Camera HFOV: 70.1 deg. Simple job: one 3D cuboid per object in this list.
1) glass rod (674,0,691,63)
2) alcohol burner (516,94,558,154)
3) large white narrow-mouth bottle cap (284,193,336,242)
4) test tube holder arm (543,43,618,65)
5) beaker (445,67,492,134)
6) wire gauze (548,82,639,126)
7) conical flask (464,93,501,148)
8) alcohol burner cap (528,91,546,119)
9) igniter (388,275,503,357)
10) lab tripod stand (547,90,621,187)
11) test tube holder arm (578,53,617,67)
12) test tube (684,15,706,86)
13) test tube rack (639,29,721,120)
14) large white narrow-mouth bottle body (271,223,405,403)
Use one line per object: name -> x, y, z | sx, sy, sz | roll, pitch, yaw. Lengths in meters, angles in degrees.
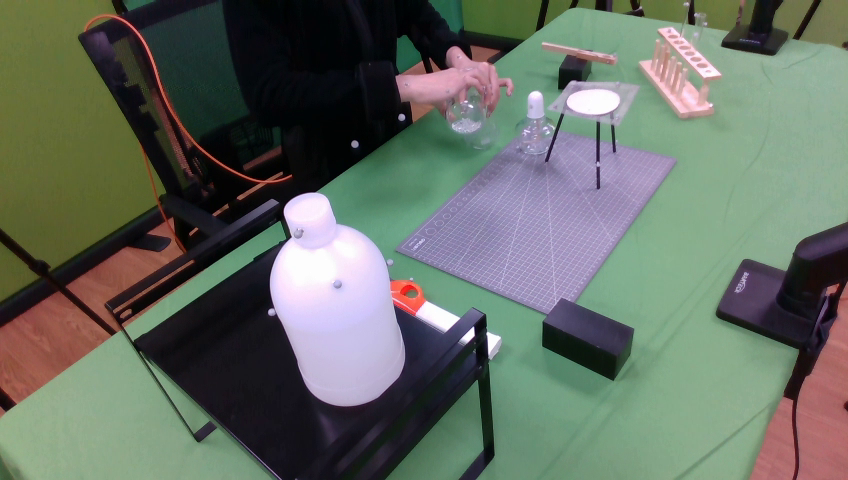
glass rod -> 0.537, -0.437, 1.257 | 0.008, 0.200, 0.008 | 0, 39, 1
alcohol burner -> 0.212, -0.222, 1.134 | 0.078, 0.119, 0.077 | -5, 43, 5
large white narrow-mouth bottle cap -> -0.087, -0.018, 0.466 | 0.038, 0.024, 0.037 | -4, 40, 4
test tube holder arm -> 0.344, -0.413, 1.340 | 0.177, 0.015, 0.013 | 25, 51, 31
beaker -> 0.076, -0.233, 1.032 | 0.074, 0.084, 0.100 | 0, 45, 12
wire gauze -> 0.286, -0.235, 1.019 | 0.124, 0.011, 0.121 | 16, 46, 28
conical flask -> 0.103, -0.231, 1.145 | 0.075, 0.122, 0.075 | -4, 73, 13
alcohol burner cap -> 0.206, -0.249, 1.112 | 0.034, 0.048, 0.033 | -6, 35, 5
igniter -> -0.008, 0.093, 0.870 | 0.274, 0.025, 0.057 | 24, 60, 33
lab tripod stand -> 0.289, -0.184, 1.062 | 0.148, 0.132, 0.147 | -6, 41, 6
test tube holder arm -> 0.376, -0.393, 1.314 | 0.087, 0.015, 0.010 | 26, 51, 32
test tube -> 0.541, -0.378, 1.215 | 0.017, 0.151, 0.017 | -2, 44, 3
test tube rack -> 0.527, -0.351, 1.262 | 0.067, 0.085, 0.241 | -8, 40, 1
large white narrow-mouth bottle body -> -0.077, 0.048, 0.525 | 0.102, 0.195, 0.101 | -5, 40, 5
